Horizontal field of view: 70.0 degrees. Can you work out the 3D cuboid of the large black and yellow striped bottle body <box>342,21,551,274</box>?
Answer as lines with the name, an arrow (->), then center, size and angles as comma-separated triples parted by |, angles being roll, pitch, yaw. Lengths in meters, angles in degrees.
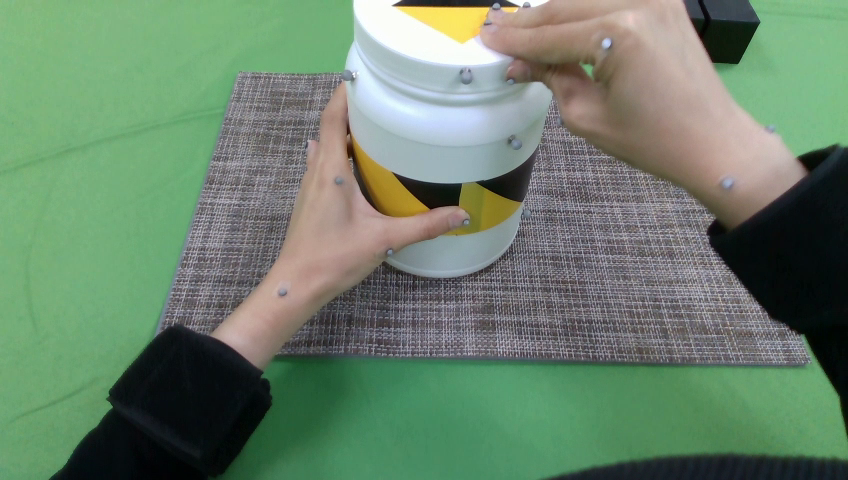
large black and yellow striped bottle body -> 0.013, -0.078, 0.412 | 0.131, 0.185, 0.129 | 2, 53, -2

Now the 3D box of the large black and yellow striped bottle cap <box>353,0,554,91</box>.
large black and yellow striped bottle cap -> 0.017, -0.129, 0.346 | 0.115, 0.019, 0.114 | 1, 54, -1
